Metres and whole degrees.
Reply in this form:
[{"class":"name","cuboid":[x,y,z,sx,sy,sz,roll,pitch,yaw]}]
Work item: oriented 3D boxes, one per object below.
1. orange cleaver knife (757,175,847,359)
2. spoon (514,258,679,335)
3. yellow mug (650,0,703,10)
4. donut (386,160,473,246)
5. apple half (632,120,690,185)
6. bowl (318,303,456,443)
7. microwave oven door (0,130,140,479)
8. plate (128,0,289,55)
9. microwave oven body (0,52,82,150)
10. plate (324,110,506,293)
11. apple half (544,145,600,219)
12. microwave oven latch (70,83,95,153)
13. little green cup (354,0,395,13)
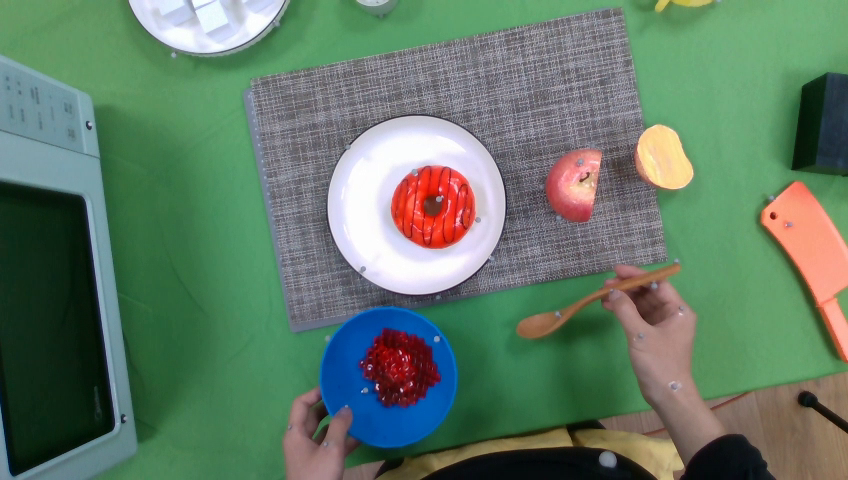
[{"class":"orange cleaver knife","cuboid":[0.451,0.030,0.684,0.077,0.012,0.211,-26,86,-2]},{"class":"spoon","cuboid":[0.176,0.060,0.642,0.194,0.041,0.022,-34,103,36]},{"class":"yellow mug","cuboid":[0.297,-0.314,0.675,0.100,0.064,0.131,37,92,3]},{"class":"donut","cuboid":[0.007,-0.042,0.689,0.099,0.048,0.099,0,91,4]},{"class":"apple half","cuboid":[0.259,-0.093,0.684,0.082,0.033,0.081,9,70,-25]},{"class":"bowl","cuboid":[-0.037,0.143,0.685,0.151,0.077,0.151,0,89,4]},{"class":"microwave oven door","cuboid":[-0.388,0.073,0.607,0.039,0.244,0.355,-9,88,4]},{"class":"plate","cuboid":[-0.252,-0.321,0.724,0.207,0.039,0.207,0,89,4]},{"class":"microwave oven body","cuboid":[-0.538,0.052,0.622,0.326,0.260,0.441,-9,89,3]},{"class":"plate","cuboid":[-0.010,-0.043,0.701,0.209,0.038,0.209,0,90,4]},{"class":"apple half","cuboid":[0.160,-0.066,0.673,0.053,0.075,0.081,8,93,8]},{"class":"microwave oven latch","cuboid":[-0.411,-0.142,0.713,0.030,0.029,0.079,-7,89,3]},{"class":"little green cup","cuboid":[-0.060,-0.299,0.712,0.061,0.038,0.061,0,89,4]}]
